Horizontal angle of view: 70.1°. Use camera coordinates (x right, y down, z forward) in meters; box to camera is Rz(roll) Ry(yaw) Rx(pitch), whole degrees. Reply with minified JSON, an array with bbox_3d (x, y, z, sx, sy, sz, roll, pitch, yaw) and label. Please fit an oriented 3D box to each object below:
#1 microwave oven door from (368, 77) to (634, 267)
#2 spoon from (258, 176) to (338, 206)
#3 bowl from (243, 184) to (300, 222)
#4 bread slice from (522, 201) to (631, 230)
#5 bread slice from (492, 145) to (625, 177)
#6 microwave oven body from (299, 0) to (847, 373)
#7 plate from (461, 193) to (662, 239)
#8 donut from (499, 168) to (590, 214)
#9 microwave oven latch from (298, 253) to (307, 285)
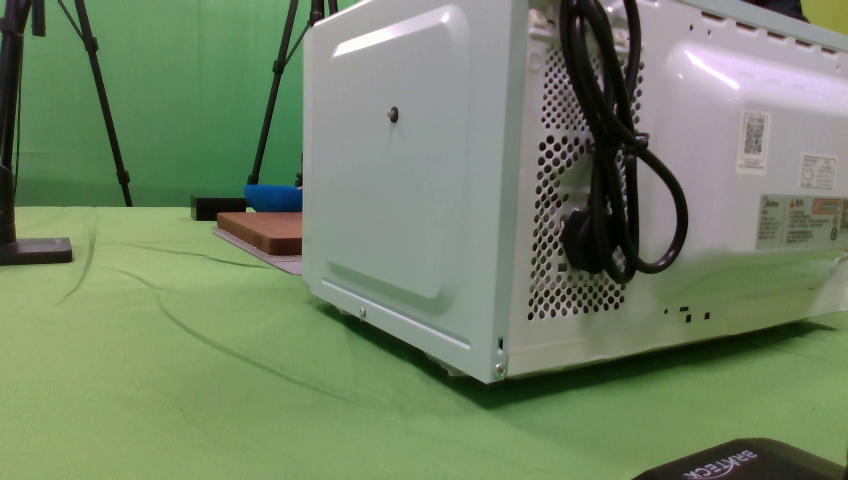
[{"bbox_3d":[0.094,-0.099,0.832,0.355,0.243,0.039,5,7,18],"label":"microwave oven door"},{"bbox_3d":[-0.279,-0.112,1.356,0.194,0.021,0.041,-27,20,-27],"label":"spoon"},{"bbox_3d":[-0.322,-0.081,1.334,0.151,0.077,0.151,3,7,0],"label":"bowl"},{"bbox_3d":[0.163,-0.028,0.639,0.105,0.019,0.131,0,9,3],"label":"bread slice"},{"bbox_3d":[0.146,-0.085,0.638,0.107,0.018,0.134,1,13,-17],"label":"bread slice"},{"bbox_3d":[0.151,-0.055,0.543,0.444,0.260,0.324,-2,7,-33],"label":"microwave oven body"},{"bbox_3d":[0.142,-0.027,0.645,0.208,0.039,0.207,1,6,0],"label":"plate"},{"bbox_3d":[0.131,-0.052,0.657,0.099,0.048,0.099,-4,8,1],"label":"donut"},{"bbox_3d":[-0.081,0.027,0.582,0.079,0.029,0.030,-1,7,-32],"label":"microwave oven latch"}]
